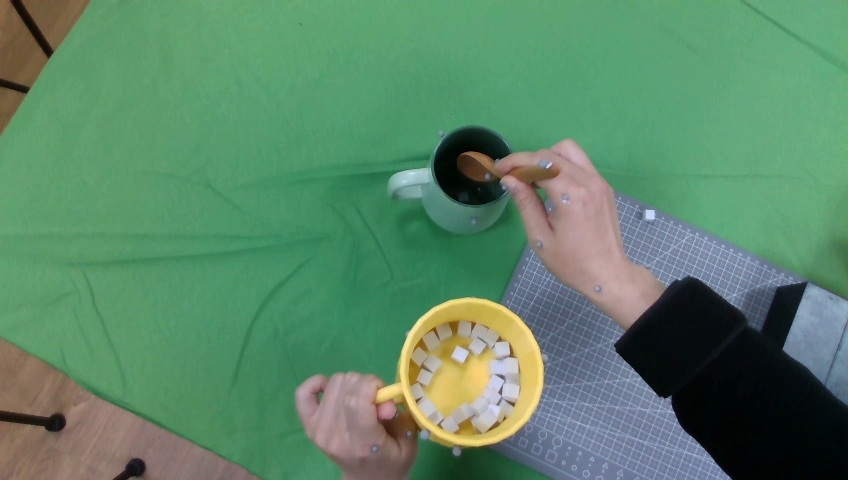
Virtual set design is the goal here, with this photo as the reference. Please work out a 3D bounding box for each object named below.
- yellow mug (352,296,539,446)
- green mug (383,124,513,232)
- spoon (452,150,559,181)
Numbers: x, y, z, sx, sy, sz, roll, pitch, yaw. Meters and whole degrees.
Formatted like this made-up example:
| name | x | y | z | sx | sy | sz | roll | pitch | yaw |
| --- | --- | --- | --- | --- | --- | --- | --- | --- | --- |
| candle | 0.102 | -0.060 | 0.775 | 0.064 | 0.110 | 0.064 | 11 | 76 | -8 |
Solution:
| name | x | y | z | sx | sy | sz | roll | pitch | yaw |
| --- | --- | --- | --- | --- | --- | --- | --- | --- | --- |
| yellow mug | 0.012 | 0.100 | 0.436 | 0.131 | 0.064 | 0.099 | -14 | 73 | -9 |
| green mug | 0.023 | -0.057 | 0.593 | 0.125 | 0.105 | 0.092 | -6 | 82 | -4 |
| spoon | 0.063 | -0.058 | 0.497 | 0.042 | 0.192 | 0.021 | 37 | 90 | -17 |
